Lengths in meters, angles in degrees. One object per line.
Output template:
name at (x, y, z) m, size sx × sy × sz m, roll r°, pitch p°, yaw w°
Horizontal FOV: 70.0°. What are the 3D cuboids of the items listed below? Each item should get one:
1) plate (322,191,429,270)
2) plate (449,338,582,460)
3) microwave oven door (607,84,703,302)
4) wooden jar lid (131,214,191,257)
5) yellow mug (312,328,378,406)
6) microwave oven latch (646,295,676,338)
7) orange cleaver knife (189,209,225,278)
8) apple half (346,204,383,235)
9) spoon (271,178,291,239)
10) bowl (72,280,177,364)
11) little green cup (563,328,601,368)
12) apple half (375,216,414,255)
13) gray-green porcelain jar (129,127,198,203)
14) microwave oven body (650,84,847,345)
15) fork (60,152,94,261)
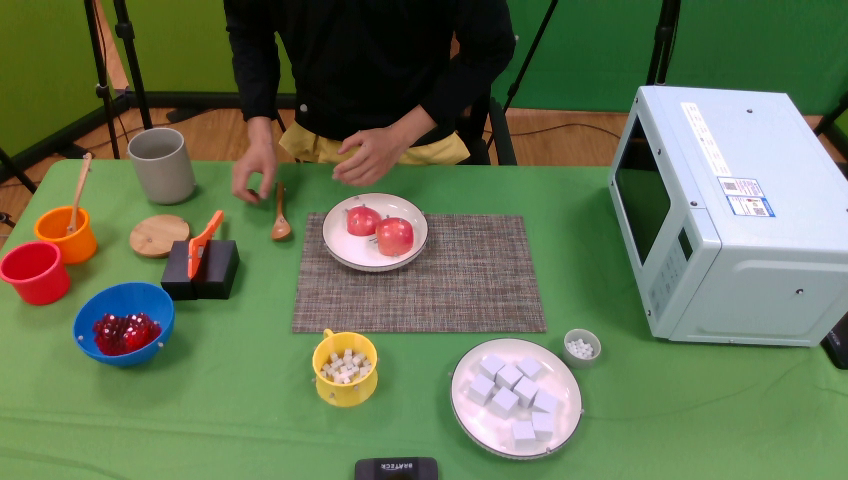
plate at (-0.094, -0.015, 1.185) m, size 0.209 × 0.038 × 0.208 m, roll 2°, pitch 46°, yaw -2°
plate at (0.141, 0.251, 0.956) m, size 0.208 × 0.039 × 0.206 m, roll 2°, pitch 46°, yaw -2°
microwave oven door at (0.423, -0.096, 1.137) m, size 0.039 × 0.245 × 0.353 m, roll 3°, pitch 46°, yaw -1°
wooden jar lid at (-0.504, -0.008, 1.167) m, size 0.108 × 0.021 × 0.107 m, roll 3°, pitch 46°, yaw -3°
yellow mug at (-0.132, 0.193, 0.971) m, size 0.100 × 0.064 × 0.130 m, roll -22°, pitch 51°, yaw -22°
microwave oven latch at (0.413, 0.133, 1.061) m, size 0.030 × 0.029 × 0.078 m, roll 4°, pitch 46°, yaw 1°
orange cleaver knife at (-0.401, 0.002, 1.122) m, size 0.012 × 0.077 × 0.210 m, roll 3°, pitch 22°, yaw -4°
apple half at (-0.119, -0.049, 1.207) m, size 0.081 × 0.033 × 0.081 m, roll 2°, pitch 50°, yaw -2°
spoon at (-0.293, -0.069, 1.237) m, size 0.041 × 0.022 × 0.192 m, roll -22°, pitch 48°, yaw 9°
bowl at (-0.473, 0.147, 0.982) m, size 0.151 × 0.077 × 0.150 m, roll 2°, pitch 46°, yaw -2°
little green cup at (0.265, 0.185, 1.025) m, size 0.061 × 0.039 × 0.061 m, roll 1°, pitch 45°, yaw -1°
apple half at (-0.056, -0.017, 1.169) m, size 0.075 × 0.053 × 0.080 m, roll 0°, pitch 46°, yaw -7°
gray-green porcelain jar at (-0.521, -0.147, 1.224) m, size 0.106 × 0.127 × 0.105 m, roll 2°, pitch 47°, yaw -2°
microwave oven body at (0.569, -0.054, 1.116) m, size 0.326 × 0.261 × 0.439 m, roll 2°, pitch 46°, yaw -1°
fork at (-0.638, -0.063, 1.119) m, size 0.028 × 0.018 × 0.207 m, roll 12°, pitch 90°, yaw 12°
